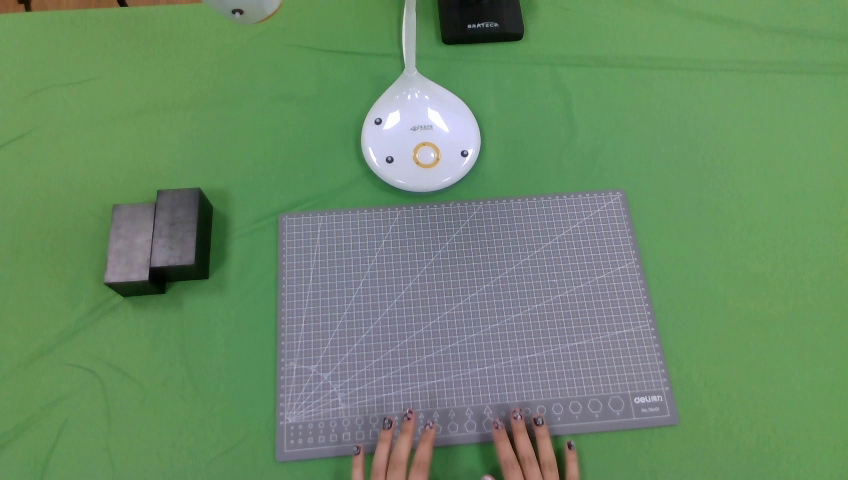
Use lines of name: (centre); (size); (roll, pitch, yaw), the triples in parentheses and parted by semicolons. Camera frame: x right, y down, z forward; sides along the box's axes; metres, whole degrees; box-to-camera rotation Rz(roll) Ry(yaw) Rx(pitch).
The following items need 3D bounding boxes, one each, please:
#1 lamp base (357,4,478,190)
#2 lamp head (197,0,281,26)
lamp base: (-0.012, -0.179, 0.741); (0.161, 0.181, 0.177); (-17, 66, -8)
lamp head: (-0.169, -0.253, 0.534); (0.112, 0.124, 0.111); (-5, 69, 13)
